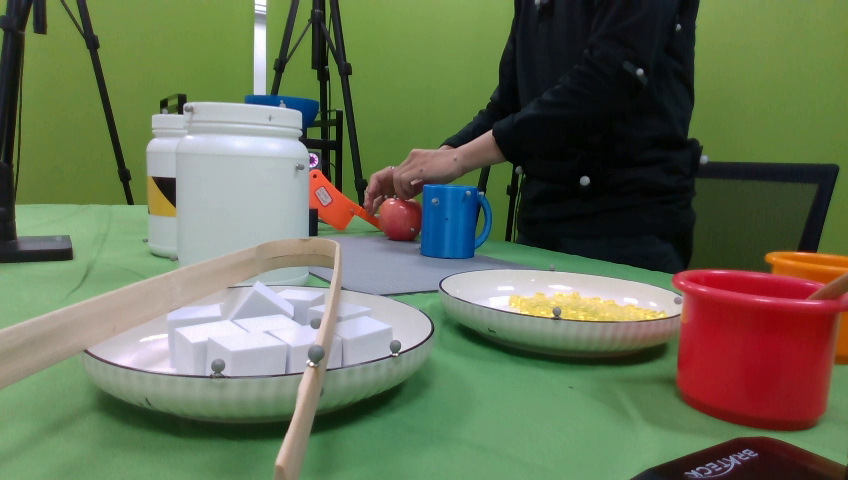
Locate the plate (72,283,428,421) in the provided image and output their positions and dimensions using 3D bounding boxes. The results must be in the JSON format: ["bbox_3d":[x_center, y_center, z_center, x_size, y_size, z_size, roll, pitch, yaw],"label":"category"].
[{"bbox_3d":[-0.102,0.066,0.381,0.208,0.039,0.207,2,7,0],"label":"plate"}]

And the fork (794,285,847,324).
[{"bbox_3d":[0.332,0.018,0.442,0.028,0.018,0.207,0,-36,-15],"label":"fork"}]

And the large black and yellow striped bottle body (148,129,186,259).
[{"bbox_3d":[-0.310,-0.073,0.838,0.131,0.184,0.130,2,8,0],"label":"large black and yellow striped bottle body"}]

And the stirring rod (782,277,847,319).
[{"bbox_3d":[0.344,0.019,0.460,0.014,0.006,0.176,-13,-27,-30],"label":"stirring rod"}]

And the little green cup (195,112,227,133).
[{"bbox_3d":[-0.412,-0.227,1.171,0.061,0.038,0.061,3,8,0],"label":"little green cup"}]

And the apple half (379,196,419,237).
[{"bbox_3d":[-0.051,-0.044,1.091,0.082,0.081,0.032,-1,14,-25],"label":"apple half"}]

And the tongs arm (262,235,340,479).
[{"bbox_3d":[-0.074,0.039,0.349,0.051,0.026,0.384,-2,10,-3],"label":"tongs arm"}]

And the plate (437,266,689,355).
[{"bbox_3d":[0.114,0.057,0.517,0.209,0.038,0.209,3,7,0],"label":"plate"}]

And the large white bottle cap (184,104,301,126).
[{"bbox_3d":[-0.184,-0.126,0.618,0.115,0.018,0.115,2,8,0],"label":"large white bottle cap"}]

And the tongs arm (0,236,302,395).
[{"bbox_3d":[-0.157,0.038,0.351,0.028,0.028,0.388,-3,8,12],"label":"tongs arm"}]

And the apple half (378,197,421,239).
[{"bbox_3d":[-0.035,-0.037,1.056,0.081,0.074,0.053,4,10,-25],"label":"apple half"}]

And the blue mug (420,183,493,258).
[{"bbox_3d":[0.052,-0.032,0.912,0.117,0.106,0.082,-1,8,-24],"label":"blue mug"}]

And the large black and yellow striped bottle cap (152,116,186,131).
[{"bbox_3d":[-0.309,-0.155,0.826,0.115,0.019,0.115,3,6,0],"label":"large black and yellow striped bottle cap"}]

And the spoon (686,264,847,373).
[{"bbox_3d":[0.214,0.032,0.328,0.042,0.021,0.193,-2,-35,-25],"label":"spoon"}]

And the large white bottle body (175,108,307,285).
[{"bbox_3d":[-0.188,-0.042,0.630,0.131,0.184,0.130,2,8,0],"label":"large white bottle body"}]

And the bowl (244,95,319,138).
[{"bbox_3d":[-0.293,-0.251,1.249,0.151,0.077,0.151,2,8,0],"label":"bowl"}]

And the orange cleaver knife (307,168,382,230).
[{"bbox_3d":[-0.158,-0.060,1.166,0.212,0.077,0.012,34,-12,-32],"label":"orange cleaver knife"}]
